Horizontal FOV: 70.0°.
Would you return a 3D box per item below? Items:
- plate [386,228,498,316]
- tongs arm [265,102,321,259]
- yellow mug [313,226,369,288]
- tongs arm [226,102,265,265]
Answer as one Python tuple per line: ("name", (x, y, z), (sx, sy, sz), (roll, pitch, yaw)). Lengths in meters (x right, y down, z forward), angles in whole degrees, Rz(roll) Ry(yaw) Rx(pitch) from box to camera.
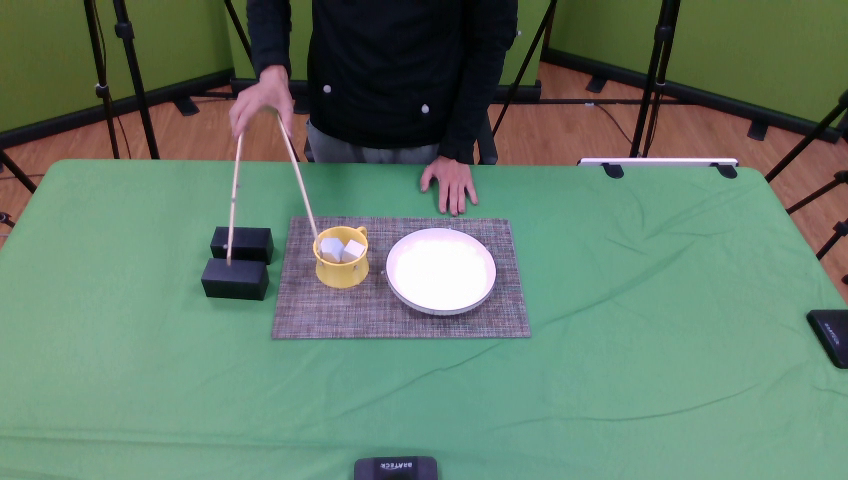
("plate", (0.032, 0.062, 1.126), (0.208, 0.039, 0.206), (2, 46, -2))
("tongs arm", (-0.236, -0.120, 1.088), (0.028, 0.028, 0.385), (-14, 54, -15))
("yellow mug", (-0.146, 0.021, 1.132), (0.099, 0.064, 0.130), (24, 49, 19))
("tongs arm", (-0.310, -0.114, 1.069), (0.051, 0.026, 0.382), (-2, 51, -10))
